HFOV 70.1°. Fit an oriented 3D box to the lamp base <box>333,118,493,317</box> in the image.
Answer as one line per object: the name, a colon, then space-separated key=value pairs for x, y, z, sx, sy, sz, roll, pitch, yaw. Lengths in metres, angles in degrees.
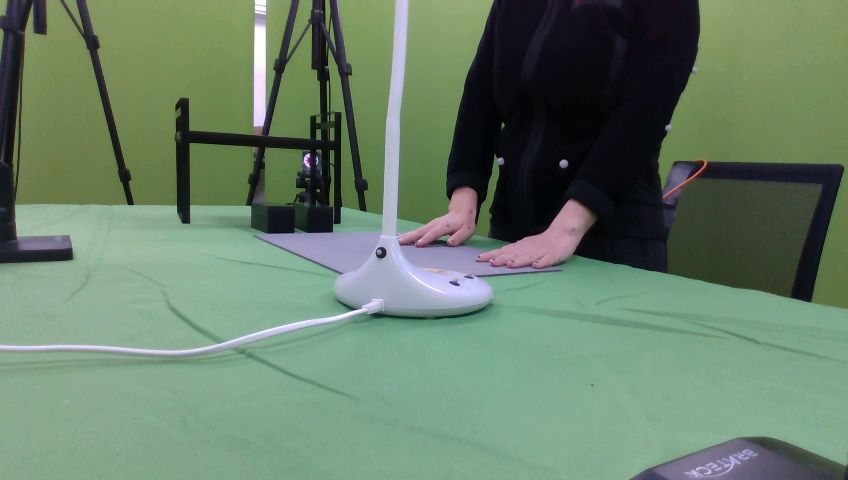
lamp base: x=-0.012 y=-0.025 z=0.585 sx=0.160 sy=0.180 sz=0.179 roll=4 pitch=10 yaw=15

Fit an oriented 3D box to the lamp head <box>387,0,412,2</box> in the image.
lamp head: x=-0.023 y=-0.317 z=0.602 sx=0.112 sy=0.112 sz=0.123 roll=4 pitch=-27 yaw=12
